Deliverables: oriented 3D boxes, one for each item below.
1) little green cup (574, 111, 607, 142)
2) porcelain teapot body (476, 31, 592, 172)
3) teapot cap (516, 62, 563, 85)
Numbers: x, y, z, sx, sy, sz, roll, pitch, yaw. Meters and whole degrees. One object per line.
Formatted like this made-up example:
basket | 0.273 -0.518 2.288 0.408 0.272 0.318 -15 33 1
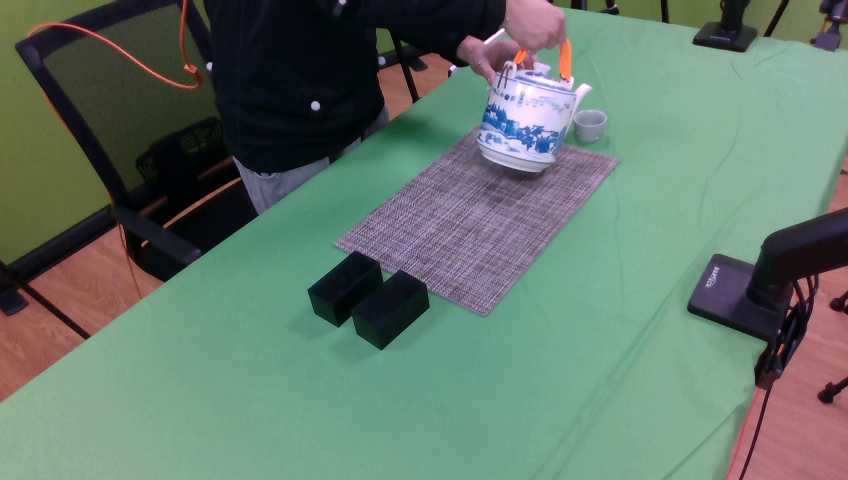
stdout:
little green cup | 0.318 -0.218 1.164 0.061 0.039 0.061 -3 40 3
porcelain teapot body | 0.207 -0.240 1.052 0.207 0.225 0.144 0 23 -37
teapot cap | 0.194 -0.276 1.019 0.085 0.044 0.085 14 20 -5
